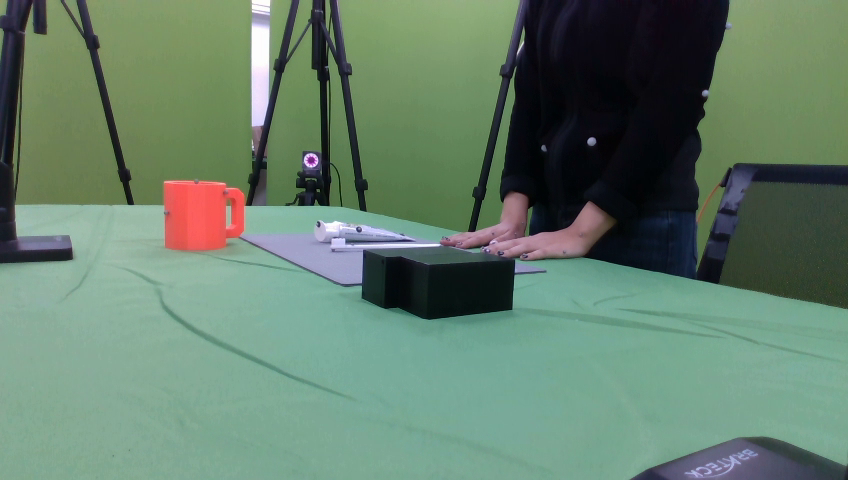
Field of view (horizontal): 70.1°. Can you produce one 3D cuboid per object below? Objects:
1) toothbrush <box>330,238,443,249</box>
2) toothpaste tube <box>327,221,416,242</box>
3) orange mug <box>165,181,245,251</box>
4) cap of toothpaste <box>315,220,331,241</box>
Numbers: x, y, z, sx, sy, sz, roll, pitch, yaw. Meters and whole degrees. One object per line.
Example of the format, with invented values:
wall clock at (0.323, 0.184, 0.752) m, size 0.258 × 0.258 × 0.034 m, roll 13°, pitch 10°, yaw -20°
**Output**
toothbrush at (-0.054, 0.006, 0.927) m, size 0.183 × 0.016 × 0.014 m, roll 1°, pitch -7°, yaw -23°
toothpaste tube at (-0.095, -0.012, 1.026) m, size 0.166 × 0.034 × 0.055 m, roll 2°, pitch 13°, yaw -33°
orange mug at (-0.326, -0.040, 0.911) m, size 0.083 × 0.101 × 0.127 m, roll 8°, pitch 14°, yaw 37°
cap of toothpaste at (-0.164, -0.016, 0.982) m, size 0.011 × 0.037 × 0.037 m, roll -8°, pitch 12°, yaw -43°
